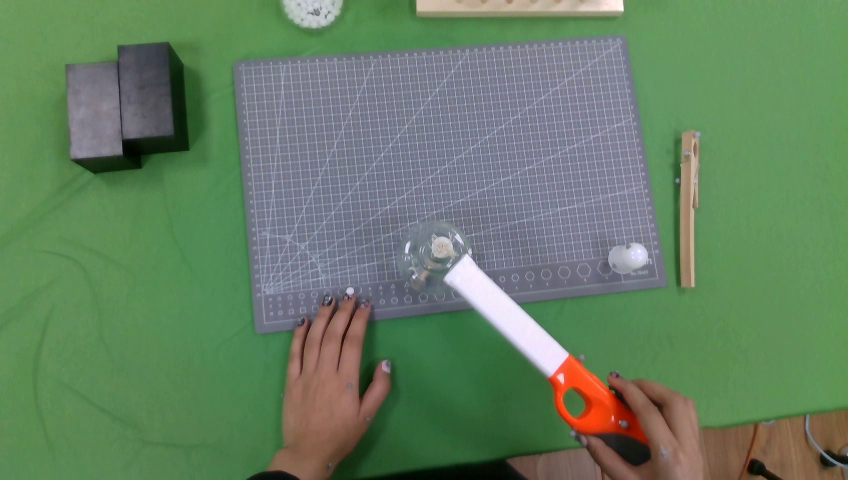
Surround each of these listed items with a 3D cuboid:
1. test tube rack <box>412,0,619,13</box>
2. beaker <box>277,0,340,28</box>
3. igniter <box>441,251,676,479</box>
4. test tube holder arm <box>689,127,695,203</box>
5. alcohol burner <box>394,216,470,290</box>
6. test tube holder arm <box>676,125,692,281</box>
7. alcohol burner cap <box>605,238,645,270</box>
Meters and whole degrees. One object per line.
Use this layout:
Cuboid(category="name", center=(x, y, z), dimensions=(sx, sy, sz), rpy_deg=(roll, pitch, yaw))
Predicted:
Cuboid(category="test tube rack", center=(0.110, -0.305, 0.671), dimensions=(0.243, 0.085, 0.066), rpy_deg=(-2, 82, -6))
Cuboid(category="beaker", center=(-0.125, -0.275, 0.638), dimensions=(0.074, 0.100, 0.083), rpy_deg=(-3, 82, -6))
Cuboid(category="igniter", center=(0.123, 0.117, 0.538), dimensions=(0.276, 0.025, 0.057), rpy_deg=(44, 78, -2))
Cuboid(category="test tube holder arm", center=(0.302, -0.085, 0.694), dimensions=(0.010, 0.015, 0.087), rpy_deg=(11, 80, -38))
Cuboid(category="alcohol burner", center=(0.010, 0.010, 0.601), dimensions=(0.078, 0.119, 0.077), rpy_deg=(1, 80, -7))
Cuboid(category="test tube holder arm", center=(0.294, -0.042, 0.685), dimensions=(0.013, 0.015, 0.178), rpy_deg=(9, 81, -39))
Cuboid(category="alcohol burner cap", center=(0.220, 0.014, 0.657), dimensions=(0.034, 0.048, 0.033), rpy_deg=(1, 81, -5))
